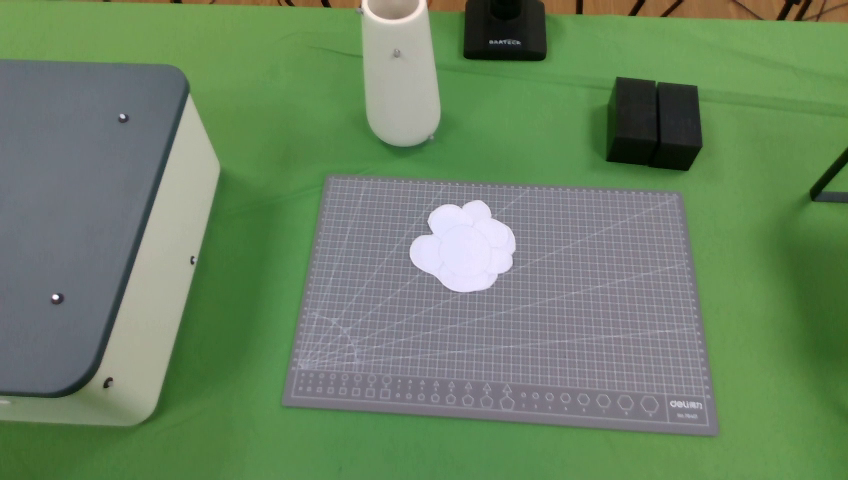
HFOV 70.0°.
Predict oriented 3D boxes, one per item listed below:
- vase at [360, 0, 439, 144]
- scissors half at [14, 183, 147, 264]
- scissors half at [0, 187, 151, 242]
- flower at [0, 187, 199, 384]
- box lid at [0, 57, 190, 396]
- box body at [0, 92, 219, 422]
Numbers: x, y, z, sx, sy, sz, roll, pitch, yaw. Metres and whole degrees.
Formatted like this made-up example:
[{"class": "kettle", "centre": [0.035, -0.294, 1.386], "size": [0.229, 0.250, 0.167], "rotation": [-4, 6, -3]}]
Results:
[{"class": "vase", "centre": [-0.032, -0.209, 0.736], "size": [0.098, 0.201, 0.097], "rotation": [-1, 59, 2]}, {"class": "scissors half", "centre": [-0.418, -0.016, 0.739], "size": [0.175, 0.040, 0.012], "rotation": [-29, 26, -6]}, {"class": "scissors half", "centre": [-0.423, -0.027, 0.732], "size": [0.175, 0.040, 0.012], "rotation": [-21, 31, -12]}, {"class": "flower", "centre": [-0.386, 0.038, 0.721], "size": [0.038, 0.044, 0.360], "rotation": [-8, 33, 34]}, {"class": "box lid", "centre": [-0.391, -0.039, 0.580], "size": [0.263, 0.015, 0.368], "rotation": [3, 61, 1]}, {"class": "box body", "centre": [-0.390, 0.001, 0.645], "size": [0.254, 0.162, 0.361], "rotation": [2, 61, 2]}]
